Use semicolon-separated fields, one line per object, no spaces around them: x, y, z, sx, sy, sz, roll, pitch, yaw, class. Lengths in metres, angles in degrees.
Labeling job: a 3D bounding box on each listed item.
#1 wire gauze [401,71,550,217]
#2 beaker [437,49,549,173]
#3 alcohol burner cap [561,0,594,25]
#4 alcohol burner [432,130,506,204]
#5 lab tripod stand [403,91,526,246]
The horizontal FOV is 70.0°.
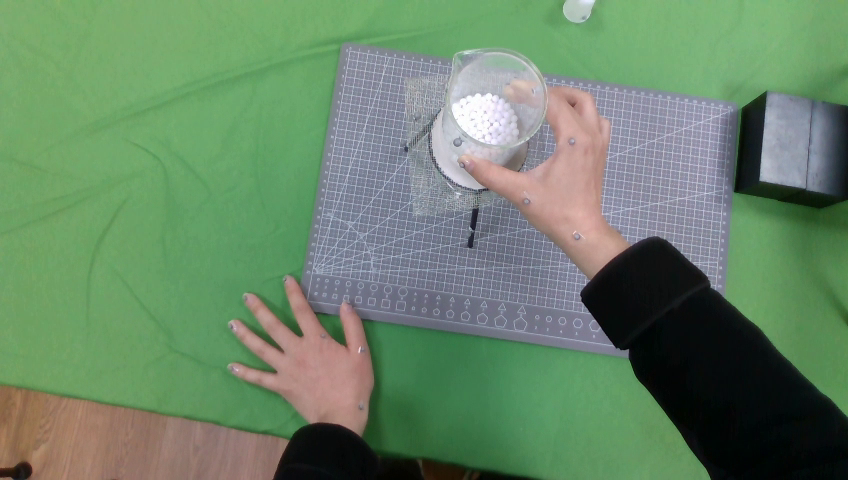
0.044;-0.086;0.528;0.121;0.011;0.124;-4;84;-4;wire gauze
0.047;-0.098;0.480;0.074;0.100;0.084;-40;87;-6;beaker
0.174;-0.266;0.675;0.034;0.048;0.034;0;82;0;alcohol burner cap
0.047;-0.078;0.604;0.078;0.119;0.077;0;80;-2;alcohol burner
0.045;-0.075;0.594;0.148;0.131;0.148;1;83;-4;lab tripod stand
